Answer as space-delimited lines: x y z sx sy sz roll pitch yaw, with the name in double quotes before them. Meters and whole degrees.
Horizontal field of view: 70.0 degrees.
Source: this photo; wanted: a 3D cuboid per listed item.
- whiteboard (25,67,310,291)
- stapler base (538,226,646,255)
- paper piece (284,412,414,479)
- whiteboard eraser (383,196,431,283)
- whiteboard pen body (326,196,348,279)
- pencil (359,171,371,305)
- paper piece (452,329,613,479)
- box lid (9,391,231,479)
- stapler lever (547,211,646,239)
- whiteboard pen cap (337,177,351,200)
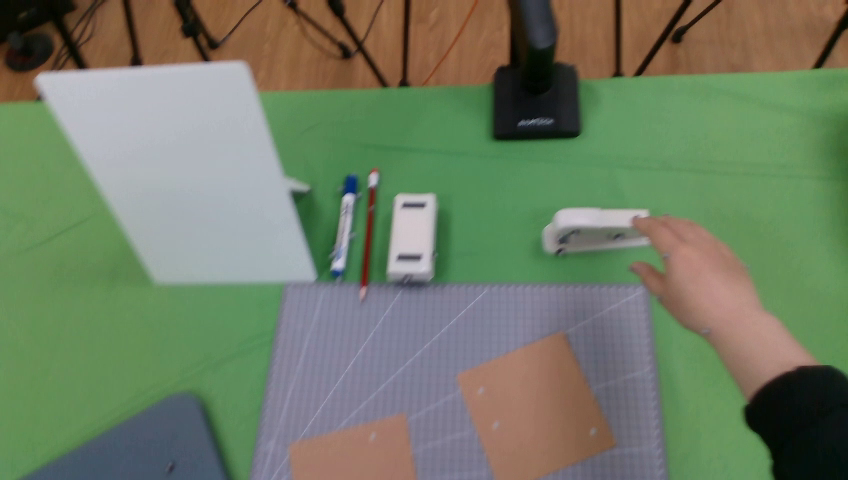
"whiteboard" -0.258 -0.093 0.722 0.217 0.308 0.142 -1 45 7
"stapler base" 0.208 -0.008 0.750 0.130 0.024 0.041 -5 66 2
"paper piece" -0.077 0.268 0.655 0.135 0.004 0.134 -14 65 -1
"whiteboard eraser" -0.020 0.000 0.763 0.055 0.042 0.112 -1 64 8
"whiteboard pen body" -0.112 -0.015 0.794 0.017 0.017 0.139 1 64 7
"pencil" -0.077 -0.007 0.789 0.012 0.012 0.192 -3 64 6
"paper piece" 0.117 0.186 0.672 0.136 0.009 0.137 -22 65 -1
"box lid" -0.304 0.369 0.634 0.263 0.015 0.368 -29 65 -7
"stapler lever" 0.207 -0.019 0.729 0.118 0.040 0.026 -6 66 3
"whiteboard pen cap" -0.108 -0.068 0.818 0.018 0.018 0.033 -1 63 7
